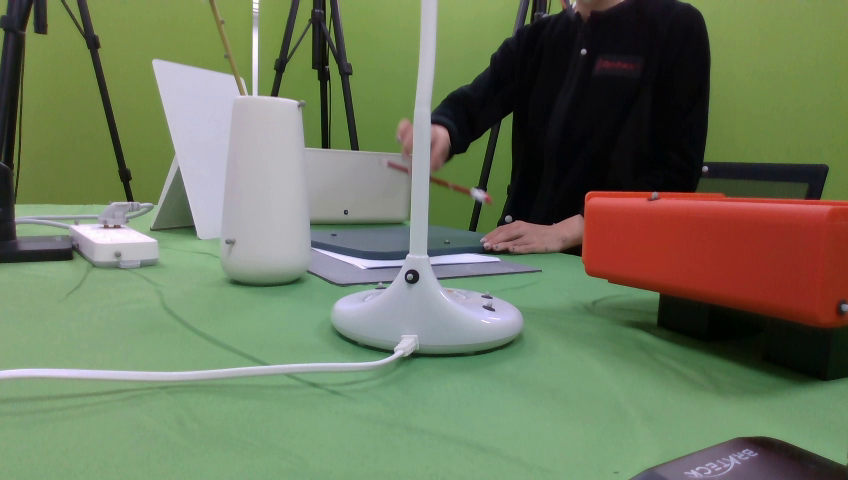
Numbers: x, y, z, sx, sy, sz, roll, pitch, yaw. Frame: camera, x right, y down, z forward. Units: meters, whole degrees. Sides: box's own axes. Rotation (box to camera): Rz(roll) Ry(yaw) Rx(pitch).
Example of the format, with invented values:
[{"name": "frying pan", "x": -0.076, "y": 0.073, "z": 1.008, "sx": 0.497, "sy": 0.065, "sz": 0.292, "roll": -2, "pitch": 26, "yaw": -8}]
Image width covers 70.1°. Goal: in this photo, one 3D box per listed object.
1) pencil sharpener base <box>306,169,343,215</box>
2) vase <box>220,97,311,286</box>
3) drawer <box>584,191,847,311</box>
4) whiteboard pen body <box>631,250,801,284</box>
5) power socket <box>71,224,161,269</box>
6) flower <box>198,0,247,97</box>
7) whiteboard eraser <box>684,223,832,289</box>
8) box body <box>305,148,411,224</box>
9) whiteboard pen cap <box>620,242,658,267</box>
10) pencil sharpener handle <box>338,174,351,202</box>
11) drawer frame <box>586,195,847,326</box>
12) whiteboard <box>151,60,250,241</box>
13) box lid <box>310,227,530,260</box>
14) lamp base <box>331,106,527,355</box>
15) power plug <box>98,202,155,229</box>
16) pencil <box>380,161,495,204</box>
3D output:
[{"name": "pencil sharpener base", "x": -0.234, "y": -0.113, "z": 1.433, "sx": 0.077, "sy": 0.107, "sz": 0.061, "roll": -1, "pitch": 6, "yaw": -30}, {"name": "vase", "x": -0.172, "y": -0.052, "z": 0.662, "sx": 0.098, "sy": 0.200, "sz": 0.098, "roll": 3, "pitch": 8, "yaw": 0}, {"name": "drawer", "x": 0.280, "y": 0.001, "z": 0.513, "sx": 0.195, "sy": 0.073, "sz": 0.211, "roll": 0, "pitch": 8, "yaw": -28}, {"name": "whiteboard pen body", "x": 0.240, "y": 0.020, "z": 0.512, "sx": 0.017, "sy": 0.017, "sz": 0.140, "roll": -4, "pitch": 8, "yaw": -41}, {"name": "power socket", "x": -0.408, "y": 0.004, "z": 0.793, "sx": 0.072, "sy": 0.032, "sz": 0.225, "roll": -2, "pitch": 8, "yaw": -38}, {"name": "flower", "x": -0.187, "y": -0.133, "z": 0.648, "sx": 0.038, "sy": 0.362, "sz": 0.044, "roll": 0, "pitch": 22, "yaw": 43}, {"name": "whiteboard eraser", "x": 0.305, "y": 0.013, "z": 0.558, "sx": 0.056, "sy": 0.042, "sz": 0.112, "roll": -9, "pitch": 19, "yaw": -30}, {"name": "box body", "x": -0.233, "y": -0.127, "z": 1.373, "sx": 0.366, "sy": 0.160, "sz": 0.253, "roll": -2, "pitch": 8, "yaw": -29}, {"name": "whiteboard pen cap", "x": 0.199, "y": 0.013, "z": 0.557, "sx": 0.018, "sy": 0.018, "sz": 0.033, "roll": -4, "pitch": 17, "yaw": -39}, {"name": "pencil sharpener handle", "x": -0.189, "y": -0.126, "z": 1.459, "sx": 0.031, "sy": 0.067, "sz": 0.036, "roll": -1, "pitch": 9, "yaw": -30}, {"name": "drawer frame", "x": 0.284, "y": 0.004, "z": 0.508, "sx": 0.203, "sy": 0.082, "sz": 0.212, "roll": -1, "pitch": 6, "yaw": -28}, {"name": "whiteboard", "x": -0.408, "y": -0.139, "z": 1.093, "sx": 0.143, "sy": 0.305, "sz": 0.218, "roll": -15, "pitch": 0, "yaw": 25}, {"name": "box lid", "x": -0.024, "y": 0.002, "z": 1.023, "sx": 0.374, "sy": 0.015, "sz": 0.262, "roll": -4, "pitch": 9, "yaw": -44}, {"name": "lamp base", "x": 0.006, "y": -0.012, "z": 0.478, "sx": 0.161, "sy": 0.180, "sz": 0.179, "roll": 2, "pitch": 10, "yaw": 2}, {"name": "power plug", "x": -0.416, "y": -0.026, "z": 0.848, "sx": 0.073, "sy": 0.052, "sz": 0.035, "roll": 1, "pitch": 7, "yaw": -28}, {"name": "pencil", "x": 0.015, "y": -0.084, "z": 0.857, "sx": 0.193, "sy": 0.012, "sz": 0.012, "roll": 22, "pitch": 16, "yaw": 27}]
